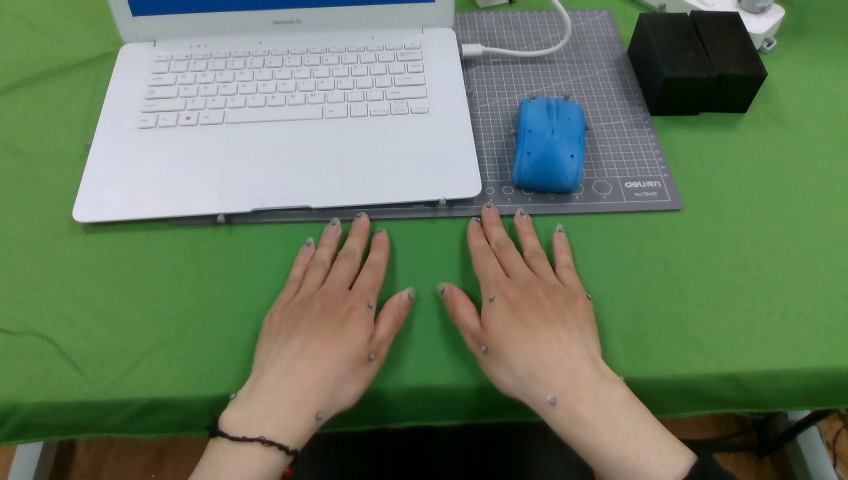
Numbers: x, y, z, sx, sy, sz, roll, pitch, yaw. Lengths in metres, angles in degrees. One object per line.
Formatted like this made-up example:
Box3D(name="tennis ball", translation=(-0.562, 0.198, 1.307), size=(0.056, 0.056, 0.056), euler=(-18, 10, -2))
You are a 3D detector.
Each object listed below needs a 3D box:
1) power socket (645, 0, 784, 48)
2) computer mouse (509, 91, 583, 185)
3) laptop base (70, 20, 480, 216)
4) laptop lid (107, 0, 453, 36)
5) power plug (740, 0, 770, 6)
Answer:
Box3D(name="power socket", translation=(0.304, -0.292, 0.703), size=(0.072, 0.033, 0.225), euler=(-39, 64, -25))
Box3D(name="computer mouse", translation=(0.114, -0.101, 0.560), size=(0.063, 0.041, 0.116), euler=(8, 51, 7))
Box3D(name="laptop base", translation=(-0.135, -0.125, 0.586), size=(0.355, 0.023, 0.233), euler=(-4, 59, -3))
Box3D(name="laptop lid", translation=(-0.147, -0.310, 0.572), size=(0.357, 0.244, 0.013), euler=(-5, 42, -2))
Box3D(name="power plug", translation=(0.377, -0.279, 0.667), size=(0.072, 0.053, 0.035), euler=(-30, 60, -18))
